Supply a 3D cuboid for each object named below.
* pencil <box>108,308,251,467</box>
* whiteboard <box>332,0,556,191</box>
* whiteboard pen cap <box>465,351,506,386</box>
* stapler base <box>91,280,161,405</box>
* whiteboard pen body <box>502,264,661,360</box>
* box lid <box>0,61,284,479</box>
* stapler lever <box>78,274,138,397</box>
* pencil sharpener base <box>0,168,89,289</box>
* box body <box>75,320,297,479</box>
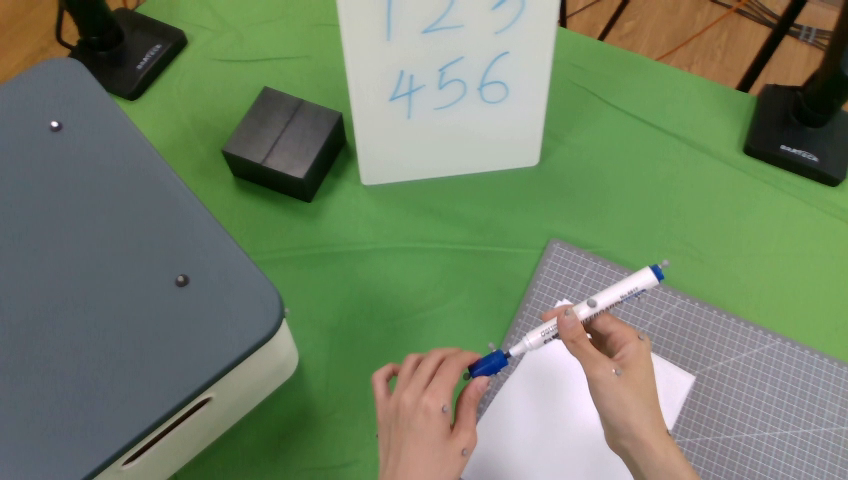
[{"bbox_3d":[-0.235,0.138,0.595,0.012,0.012,0.193,27,54,12],"label":"pencil"},{"bbox_3d":[0.015,-0.228,0.667,0.217,0.308,0.142,-7,44,-4],"label":"whiteboard"},{"bbox_3d":[0.051,0.103,0.489,0.033,0.018,0.018,-27,66,-14],"label":"whiteboard pen cap"},{"bbox_3d":[-0.302,0.098,0.606,0.041,0.024,0.129,-2,66,17],"label":"stapler base"},{"bbox_3d":[0.120,0.060,0.475,0.141,0.017,0.017,-33,65,14],"label":"whiteboard pen body"},{"bbox_3d":[-0.320,0.016,0.496,0.263,0.015,0.369,-39,71,-19],"label":"box lid"},{"bbox_3d":[-0.307,0.089,0.584,0.027,0.040,0.117,-2,64,17],"label":"stapler lever"},{"bbox_3d":[-0.409,-0.007,0.611,0.061,0.108,0.076,37,69,17],"label":"pencil sharpener base"},{"bbox_3d":[-0.320,0.051,0.561,0.254,0.161,0.361,-40,71,-19],"label":"box body"}]
